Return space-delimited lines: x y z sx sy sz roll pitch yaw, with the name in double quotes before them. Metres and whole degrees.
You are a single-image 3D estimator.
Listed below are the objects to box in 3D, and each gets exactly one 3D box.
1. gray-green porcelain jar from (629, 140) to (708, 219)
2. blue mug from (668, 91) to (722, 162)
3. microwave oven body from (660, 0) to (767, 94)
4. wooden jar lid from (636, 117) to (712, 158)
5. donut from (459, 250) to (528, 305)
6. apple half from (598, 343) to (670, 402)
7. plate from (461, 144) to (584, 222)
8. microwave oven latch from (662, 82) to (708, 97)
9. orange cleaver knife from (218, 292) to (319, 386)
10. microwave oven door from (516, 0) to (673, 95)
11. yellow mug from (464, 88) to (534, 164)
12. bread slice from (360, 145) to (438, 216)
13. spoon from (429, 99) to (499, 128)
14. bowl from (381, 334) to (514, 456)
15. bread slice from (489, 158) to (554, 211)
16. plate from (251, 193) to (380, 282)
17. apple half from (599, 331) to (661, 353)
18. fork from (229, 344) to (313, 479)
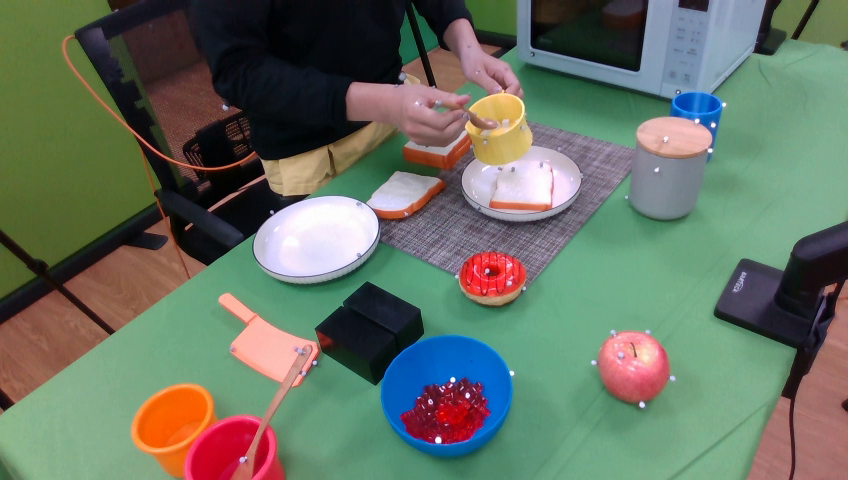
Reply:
"gray-green porcelain jar" 0.383 -0.105 0.958 0.106 0.127 0.105 -4 41 4
"blue mug" 0.474 -0.207 1.078 0.082 0.106 0.116 4 42 13
"microwave oven body" 0.474 -0.517 1.313 0.438 0.261 0.327 26 51 34
"wooden jar lid" 0.377 -0.151 0.917 0.108 0.021 0.108 -2 42 3
"donut" 0.100 0.053 0.873 0.099 0.048 0.098 -5 40 4
"apple half" 0.247 0.161 0.710 0.081 0.075 0.053 2 47 5
"plate" 0.168 -0.095 1.040 0.207 0.039 0.206 -4 41 4
"microwave oven latch" 0.518 -0.298 1.203 0.078 0.029 0.030 28 53 35
"orange cleaver knife" -0.235 0.136 0.850 0.209 0.012 0.077 25 56 30
"microwave oven door" 0.344 -0.458 1.257 0.353 0.245 0.039 26 52 33
"yellow mug" 0.124 -0.193 0.978 0.099 0.064 0.130 -1 52 23
"bread slice" -0.052 -0.103 1.046 0.106 0.018 0.134 19 67 22
"spoon" 0.055 -0.178 0.838 0.041 0.021 0.195 28 12 26
"bowl" 0.029 0.192 0.701 0.151 0.077 0.150 -4 40 4
"bread slice" 0.172 -0.100 1.048 0.104 0.019 0.131 5 44 12
"plate" -0.174 -0.001 0.984 0.209 0.038 0.208 -4 40 4
"apple half" 0.249 0.134 0.738 0.081 0.081 0.032 -1 46 7
"fork" -0.173 0.205 0.662 0.028 0.019 0.207 29 94 35
